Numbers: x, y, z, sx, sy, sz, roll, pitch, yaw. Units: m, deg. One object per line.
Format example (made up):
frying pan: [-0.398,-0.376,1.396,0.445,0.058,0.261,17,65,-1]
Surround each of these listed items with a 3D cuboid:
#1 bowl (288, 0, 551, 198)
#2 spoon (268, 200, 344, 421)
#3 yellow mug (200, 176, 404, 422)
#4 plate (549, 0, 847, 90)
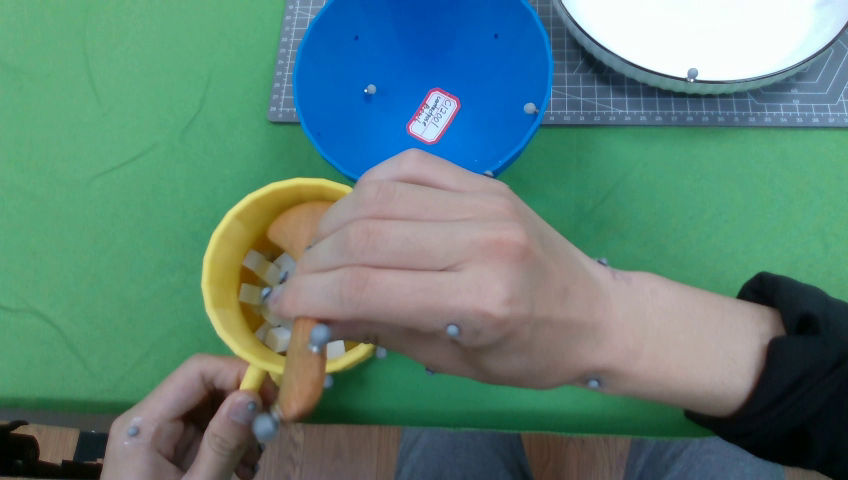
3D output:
bowl: [0.000,-0.087,0.380,0.151,0.077,0.150,-1,74,5]
spoon: [-0.047,0.015,0.248,0.041,0.192,0.022,-19,114,-4]
yellow mug: [-0.067,0.036,0.325,0.100,0.064,0.130,23,80,1]
plate: [0.184,-0.189,0.421,0.209,0.038,0.207,-1,70,4]
